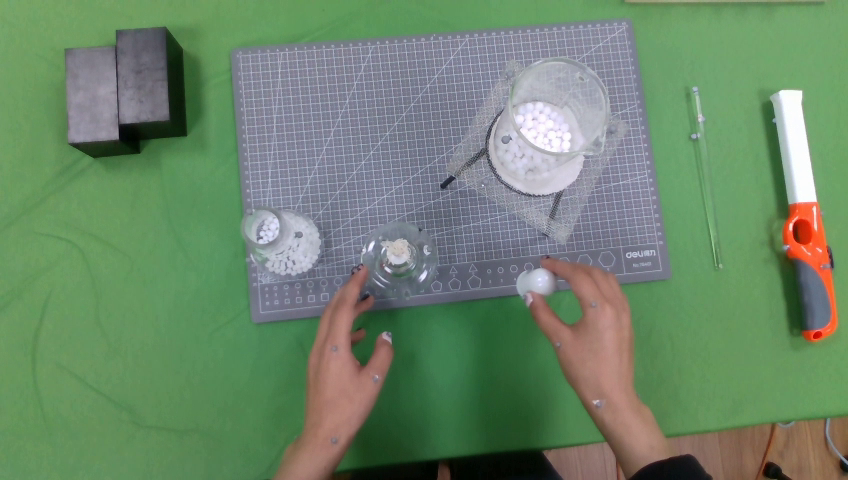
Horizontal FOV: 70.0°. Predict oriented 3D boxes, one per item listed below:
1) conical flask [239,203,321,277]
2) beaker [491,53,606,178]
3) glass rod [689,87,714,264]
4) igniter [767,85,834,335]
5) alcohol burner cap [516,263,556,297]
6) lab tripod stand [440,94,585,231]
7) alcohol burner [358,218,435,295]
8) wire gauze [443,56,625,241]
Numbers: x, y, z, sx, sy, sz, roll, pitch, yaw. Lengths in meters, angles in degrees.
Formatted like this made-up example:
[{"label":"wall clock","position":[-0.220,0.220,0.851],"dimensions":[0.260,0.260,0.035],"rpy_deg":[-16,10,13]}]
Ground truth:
[{"label":"conical flask","position":[-0.143,-0.006,0.582],"dimensions":[0.075,0.122,0.075],"rpy_deg":[0,83,-3]},{"label":"beaker","position":[0.096,-0.091,0.485],"dimensions":[0.084,0.100,0.074],"rpy_deg":[45,84,3]},{"label":"glass rod","position":[0.309,-0.073,0.673],"dimensions":[0.008,0.008,0.199],"rpy_deg":[-4,86,-4]},{"label":"igniter","position":[0.413,-0.035,0.665],"dimensions":[0.057,0.025,0.275],"rpy_deg":[-2,83,-14]},{"label":"alcohol burner cap","position":[0.112,0.037,0.589],"dimensions":[0.034,0.048,0.033],"rpy_deg":[1,81,-8]},{"label":"lab tripod stand","position":[0.092,-0.076,0.597],"dimensions":[0.148,0.131,0.148],"rpy_deg":[0,85,-2]},{"label":"alcohol burner","position":[-0.027,0.014,0.590],"dimensions":[0.078,0.119,0.077],"rpy_deg":[0,83,0]},{"label":"wire gauze","position":[0.097,-0.082,0.532],"dimensions":[0.125,0.011,0.121],"rpy_deg":[31,85,0]}]
